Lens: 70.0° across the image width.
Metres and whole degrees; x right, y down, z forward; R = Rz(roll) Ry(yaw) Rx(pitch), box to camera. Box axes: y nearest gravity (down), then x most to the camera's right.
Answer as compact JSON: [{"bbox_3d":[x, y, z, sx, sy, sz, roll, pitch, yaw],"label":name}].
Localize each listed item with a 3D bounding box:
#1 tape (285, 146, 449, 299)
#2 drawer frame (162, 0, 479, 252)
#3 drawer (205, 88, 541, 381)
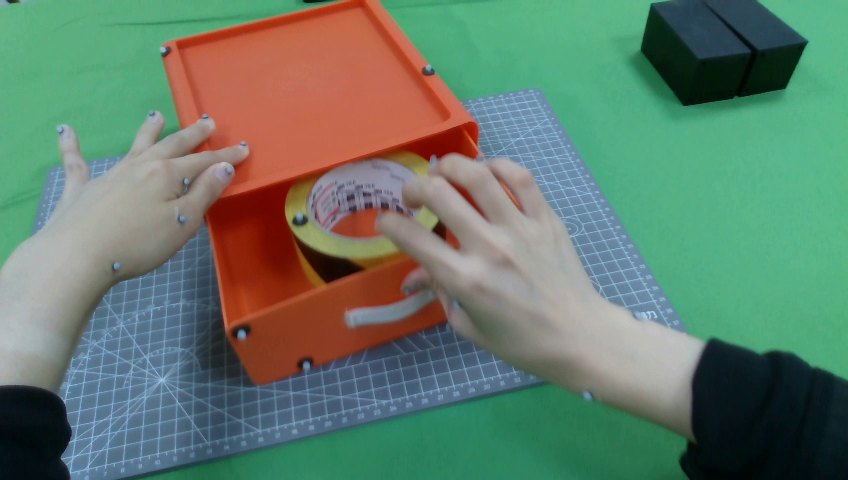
[{"bbox_3d":[-0.040,-0.015,0.433,0.117,0.053,0.115,-1,48,1],"label":"tape"},{"bbox_3d":[-0.091,-0.100,0.498,0.202,0.083,0.211,-20,50,-14],"label":"drawer frame"},{"bbox_3d":[-0.052,-0.028,0.436,0.195,0.074,0.209,-18,50,-12],"label":"drawer"}]
